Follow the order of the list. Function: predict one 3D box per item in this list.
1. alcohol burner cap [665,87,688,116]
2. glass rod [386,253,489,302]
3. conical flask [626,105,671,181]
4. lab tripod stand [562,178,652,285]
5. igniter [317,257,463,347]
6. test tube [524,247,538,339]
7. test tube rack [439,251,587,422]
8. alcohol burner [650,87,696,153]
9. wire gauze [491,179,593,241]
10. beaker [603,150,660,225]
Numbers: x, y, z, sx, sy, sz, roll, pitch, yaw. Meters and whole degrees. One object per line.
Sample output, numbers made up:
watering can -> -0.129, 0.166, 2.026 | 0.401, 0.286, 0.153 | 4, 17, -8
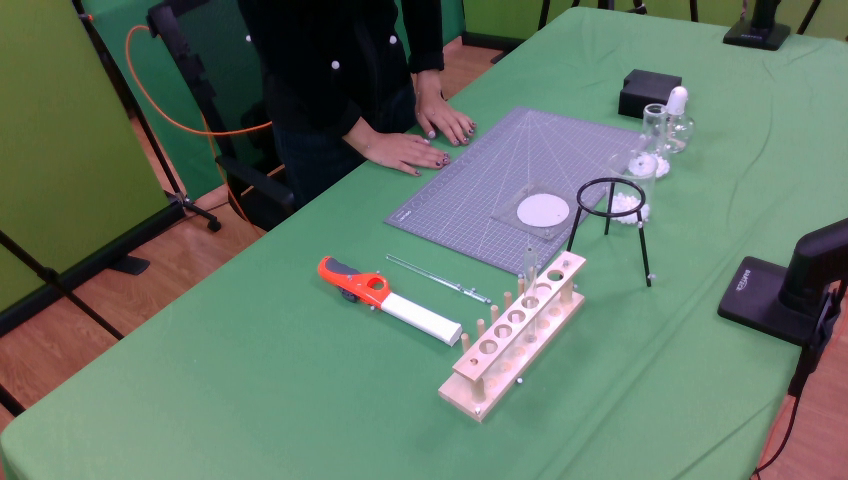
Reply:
alcohol burner cap -> 0.445, -0.244, 1.060 | 0.034, 0.048, 0.033 | -2, 45, 3
glass rod -> 0.016, 0.055, 0.927 | 0.198, 0.008, 0.008 | 23, 50, 32
conical flask -> 0.388, -0.168, 1.031 | 0.075, 0.122, 0.075 | -6, 40, 5
lab tripod stand -> 0.263, -0.014, 0.864 | 0.148, 0.132, 0.147 | -7, 38, 6
igniter -> -0.061, 0.086, 0.891 | 0.274, 0.025, 0.057 | 23, 59, 33
test tube -> 0.133, 0.070, 0.749 | 0.017, 0.151, 0.017 | -5, 38, 4
test tube rack -> 0.118, 0.111, 0.780 | 0.066, 0.085, 0.243 | 26, 51, 34
alcohol burner -> 0.448, -0.217, 1.084 | 0.078, 0.119, 0.077 | -6, 38, 5
wire gauze -> 0.198, -0.051, 1.014 | 0.125, 0.011, 0.120 | -38, 48, -27
beaker -> 0.325, -0.080, 0.957 | 0.083, 0.101, 0.074 | 7, 42, 20
